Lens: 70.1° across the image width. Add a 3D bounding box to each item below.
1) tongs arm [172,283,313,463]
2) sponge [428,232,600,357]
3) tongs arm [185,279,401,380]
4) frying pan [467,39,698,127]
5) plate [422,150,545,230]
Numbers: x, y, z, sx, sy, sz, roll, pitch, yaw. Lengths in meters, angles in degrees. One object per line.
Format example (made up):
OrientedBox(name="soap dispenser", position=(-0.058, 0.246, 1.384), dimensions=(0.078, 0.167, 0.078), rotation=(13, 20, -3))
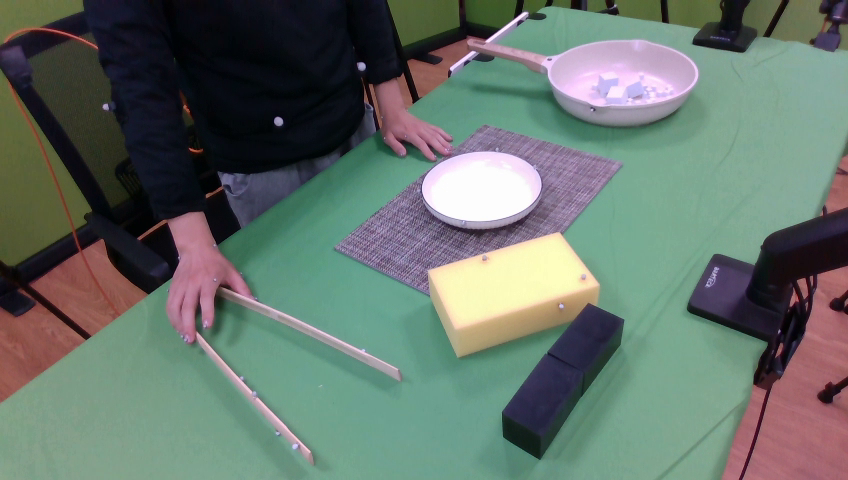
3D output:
OrientedBox(name="tongs arm", position=(-0.247, 0.161, 0.806), dimensions=(0.381, 0.026, 0.051), rotation=(29, 52, 36))
OrientedBox(name="sponge", position=(0.120, 0.071, 0.834), dimensions=(0.207, 0.061, 0.117), rotation=(-15, 43, -12))
OrientedBox(name="tongs arm", position=(-0.195, 0.119, 0.851), dimensions=(0.385, 0.028, 0.028), rotation=(18, 50, 27))
OrientedBox(name="frying pan", position=(0.312, -0.359, 1.277), dimensions=(0.485, 0.103, 0.307), rotation=(23, 48, 19))
OrientedBox(name="plate", position=(0.101, -0.082, 1.031), dimensions=(0.207, 0.039, 0.206), rotation=(-4, 40, 4))
